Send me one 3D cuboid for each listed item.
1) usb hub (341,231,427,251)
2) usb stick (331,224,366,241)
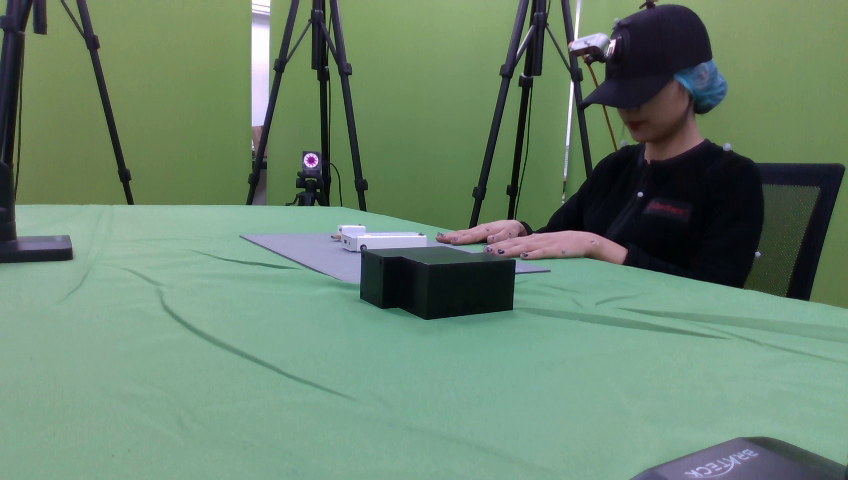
[{"bbox_3d":[-0.061,0.001,0.935,0.126,0.025,0.049,-2,9,-26],"label":"usb hub"},{"bbox_3d":[-0.128,-0.013,1.018,0.059,0.027,0.021,-5,11,-31],"label":"usb stick"}]
